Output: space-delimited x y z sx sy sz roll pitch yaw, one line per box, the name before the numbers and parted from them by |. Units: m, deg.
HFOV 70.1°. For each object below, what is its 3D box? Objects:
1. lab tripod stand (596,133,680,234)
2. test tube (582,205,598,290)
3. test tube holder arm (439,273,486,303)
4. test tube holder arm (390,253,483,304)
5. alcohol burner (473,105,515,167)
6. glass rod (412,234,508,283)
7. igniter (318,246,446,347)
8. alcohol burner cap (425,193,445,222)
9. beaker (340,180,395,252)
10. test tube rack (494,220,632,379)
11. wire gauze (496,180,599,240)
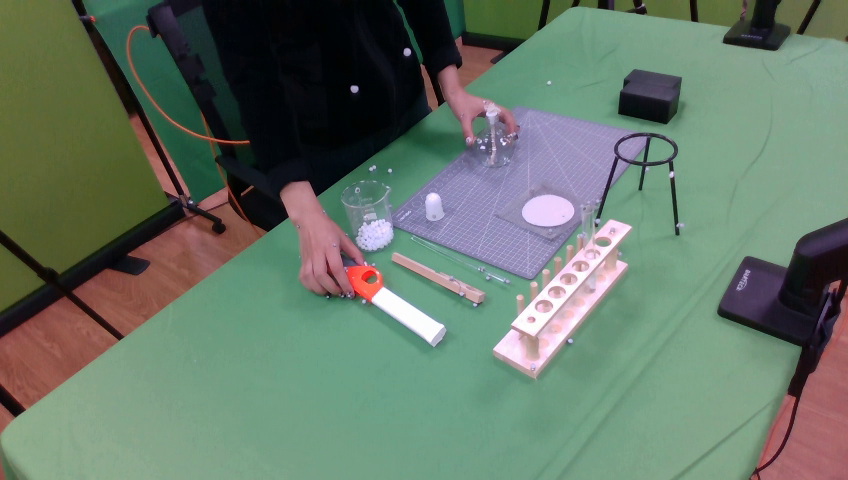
lab tripod stand | 0.338 -0.091 0.940 0.148 0.132 0.147 -7 39 6
test tube | 0.220 0.014 0.798 0.017 0.151 0.017 -9 43 9
test tube holder arm | 0.053 0.070 0.896 0.087 0.015 0.010 24 17 35
test tube holder arm | 0.016 0.056 0.916 0.177 0.015 0.013 24 17 34
alcohol burner | 0.128 -0.196 1.116 0.078 0.119 0.077 -4 39 4
glass rod | 0.051 0.027 0.951 0.198 0.008 0.008 25 52 37
igniter | -0.074 0.077 0.902 0.274 0.025 0.057 30 68 37
alcohol burner cap | 0.017 -0.058 1.029 0.034 0.048 0.033 -5 40 5
beaker | -0.086 -0.037 0.985 0.084 0.101 0.073 -18 41 -11
test tube rack | 0.191 0.068 0.818 0.066 0.085 0.243 25 51 35
wire gauze | 0.206 -0.050 1.012 0.125 0.011 0.120 -34 45 -26
